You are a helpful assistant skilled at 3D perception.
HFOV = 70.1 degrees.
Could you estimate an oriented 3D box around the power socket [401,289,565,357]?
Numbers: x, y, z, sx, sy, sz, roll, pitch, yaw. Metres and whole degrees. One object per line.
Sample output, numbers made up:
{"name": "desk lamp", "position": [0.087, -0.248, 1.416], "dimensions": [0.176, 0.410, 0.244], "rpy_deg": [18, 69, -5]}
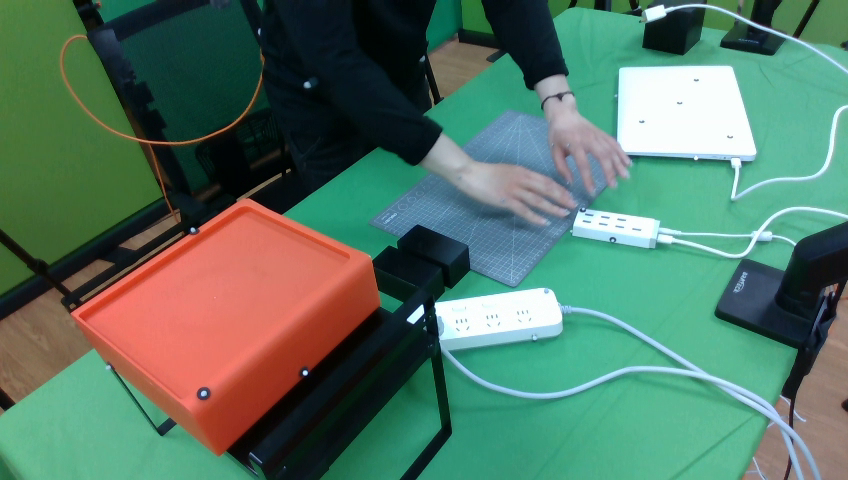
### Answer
{"name": "power socket", "position": [0.080, 0.112, 0.822], "dimensions": [0.227, 0.033, 0.072], "rpy_deg": [-7, 41, -1]}

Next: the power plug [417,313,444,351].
{"name": "power plug", "position": [0.007, 0.127, 0.786], "dimensions": [0.035, 0.053, 0.072], "rpy_deg": [0, 43, 8]}

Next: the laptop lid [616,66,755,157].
{"name": "laptop lid", "position": [0.503, -0.265, 1.196], "dimensions": [0.241, 0.013, 0.356], "rpy_deg": [5, 41, 16]}

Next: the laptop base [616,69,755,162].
{"name": "laptop base", "position": [0.507, -0.256, 1.204], "dimensions": [0.235, 0.023, 0.353], "rpy_deg": [3, 41, 15]}

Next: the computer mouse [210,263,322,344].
{"name": "computer mouse", "position": [-0.164, 0.062, 0.624], "dimensions": [0.116, 0.041, 0.063], "rpy_deg": [22, 44, 27]}

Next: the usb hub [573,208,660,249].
{"name": "usb hub", "position": [0.302, -0.019, 0.950], "dimensions": [0.124, 0.025, 0.049], "rpy_deg": [11, 43, 20]}

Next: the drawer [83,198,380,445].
{"name": "drawer", "position": [-0.185, 0.066, 0.600], "dimensions": [0.193, 0.073, 0.212], "rpy_deg": [24, 50, 31]}

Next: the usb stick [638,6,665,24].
{"name": "usb stick", "position": [0.503, -0.499, 1.347], "dimensions": [0.059, 0.027, 0.021], "rpy_deg": [-21, 5, -1]}

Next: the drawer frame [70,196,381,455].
{"name": "drawer frame", "position": [-0.186, 0.068, 0.597], "dimensions": [0.200, 0.083, 0.214], "rpy_deg": [23, 49, 30]}
